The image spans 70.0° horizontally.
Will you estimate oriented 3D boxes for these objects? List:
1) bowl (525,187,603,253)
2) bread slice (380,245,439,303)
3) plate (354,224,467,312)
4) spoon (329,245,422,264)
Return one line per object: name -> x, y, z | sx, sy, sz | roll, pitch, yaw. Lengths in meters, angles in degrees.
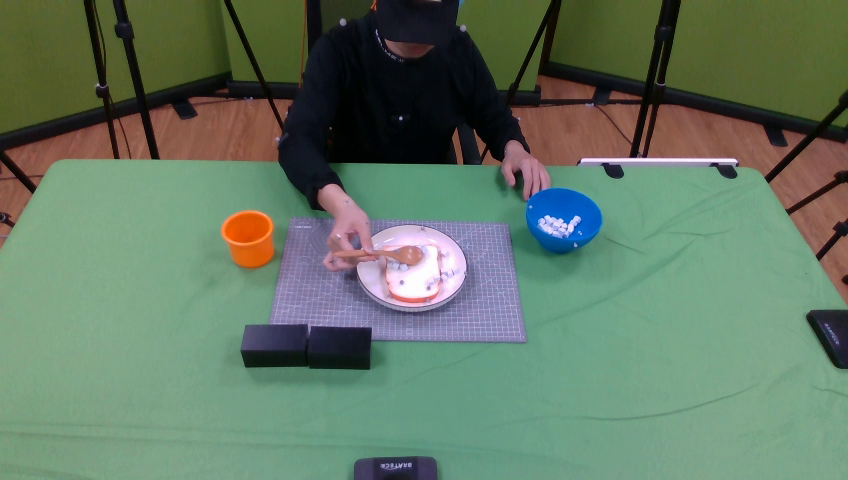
bowl -> 0.271, -0.028, 1.207 | 0.151, 0.077, 0.150 | 2, 46, -2
bread slice -> -0.022, 0.061, 1.126 | 0.107, 0.018, 0.133 | -3, 45, -8
plate -> -0.025, 0.055, 1.128 | 0.209, 0.038, 0.208 | 3, 46, -3
spoon -> -0.083, 0.024, 1.078 | 0.194, 0.021, 0.041 | 3, 56, -42
